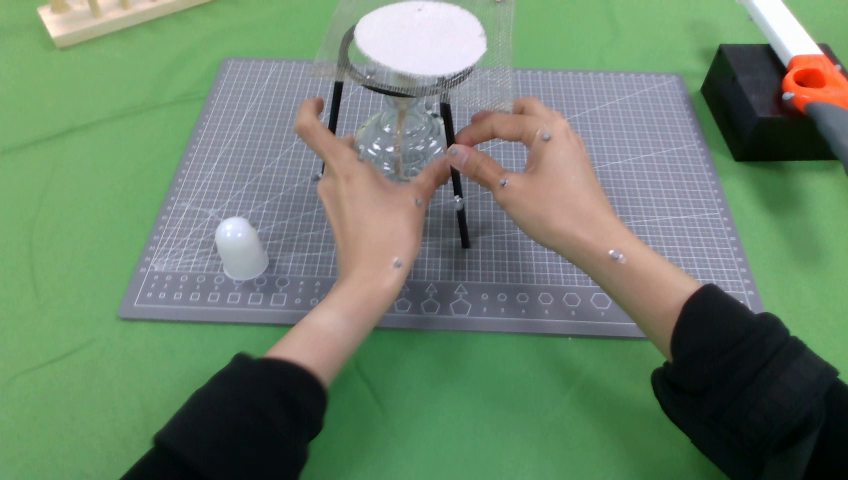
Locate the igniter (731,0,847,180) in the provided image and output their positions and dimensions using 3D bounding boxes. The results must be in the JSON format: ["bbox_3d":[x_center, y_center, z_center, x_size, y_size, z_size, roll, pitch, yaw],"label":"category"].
[{"bbox_3d":[0.318,-0.143,0.509,0.057,0.025,0.273,-2,49,1],"label":"igniter"}]

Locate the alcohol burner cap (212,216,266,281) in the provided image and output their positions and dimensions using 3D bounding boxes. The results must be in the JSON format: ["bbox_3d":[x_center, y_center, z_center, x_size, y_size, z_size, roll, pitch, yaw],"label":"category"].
[{"bbox_3d":[-0.133,0.003,0.430,0.034,0.048,0.033,2,51,-2],"label":"alcohol burner cap"}]

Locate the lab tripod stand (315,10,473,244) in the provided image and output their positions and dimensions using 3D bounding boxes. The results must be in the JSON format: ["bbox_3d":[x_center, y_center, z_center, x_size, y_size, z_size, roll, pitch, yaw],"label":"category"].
[{"bbox_3d":[-0.011,-0.083,0.442,0.148,0.132,0.147,2,52,-2],"label":"lab tripod stand"}]

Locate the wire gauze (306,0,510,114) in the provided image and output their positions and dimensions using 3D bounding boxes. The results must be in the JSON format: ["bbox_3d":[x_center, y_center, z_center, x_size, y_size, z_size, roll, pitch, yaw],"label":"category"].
[{"bbox_3d":[-0.004,-0.131,0.394,0.125,0.011,0.120,7,52,2],"label":"wire gauze"}]

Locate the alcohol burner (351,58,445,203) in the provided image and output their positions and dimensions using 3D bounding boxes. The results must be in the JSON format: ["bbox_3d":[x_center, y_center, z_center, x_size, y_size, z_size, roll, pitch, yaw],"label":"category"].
[{"bbox_3d":[-0.018,-0.085,0.456,0.078,0.120,0.077,0,53,1],"label":"alcohol burner"}]

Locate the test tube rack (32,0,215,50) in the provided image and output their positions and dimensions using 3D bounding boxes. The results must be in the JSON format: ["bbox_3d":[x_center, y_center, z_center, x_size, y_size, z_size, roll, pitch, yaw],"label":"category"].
[{"bbox_3d":[-0.290,-0.291,0.634,0.242,0.086,0.066,-28,58,-21],"label":"test tube rack"}]
